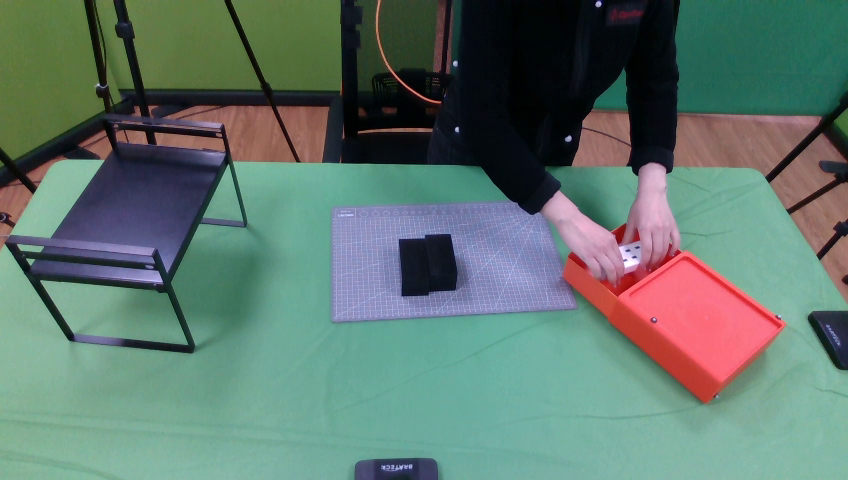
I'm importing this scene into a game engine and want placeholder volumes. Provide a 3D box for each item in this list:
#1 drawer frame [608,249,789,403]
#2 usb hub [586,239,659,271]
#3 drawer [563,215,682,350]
[{"bbox_3d":[0.470,0.139,1.052,0.202,0.083,0.212,-28,55,-28],"label":"drawer frame"},{"bbox_3d":[0.372,0.029,1.138,0.125,0.025,0.049,-6,46,-6],"label":"usb hub"},{"bbox_3d":[0.400,0.072,1.119,0.194,0.073,0.210,-26,55,-26],"label":"drawer"}]
